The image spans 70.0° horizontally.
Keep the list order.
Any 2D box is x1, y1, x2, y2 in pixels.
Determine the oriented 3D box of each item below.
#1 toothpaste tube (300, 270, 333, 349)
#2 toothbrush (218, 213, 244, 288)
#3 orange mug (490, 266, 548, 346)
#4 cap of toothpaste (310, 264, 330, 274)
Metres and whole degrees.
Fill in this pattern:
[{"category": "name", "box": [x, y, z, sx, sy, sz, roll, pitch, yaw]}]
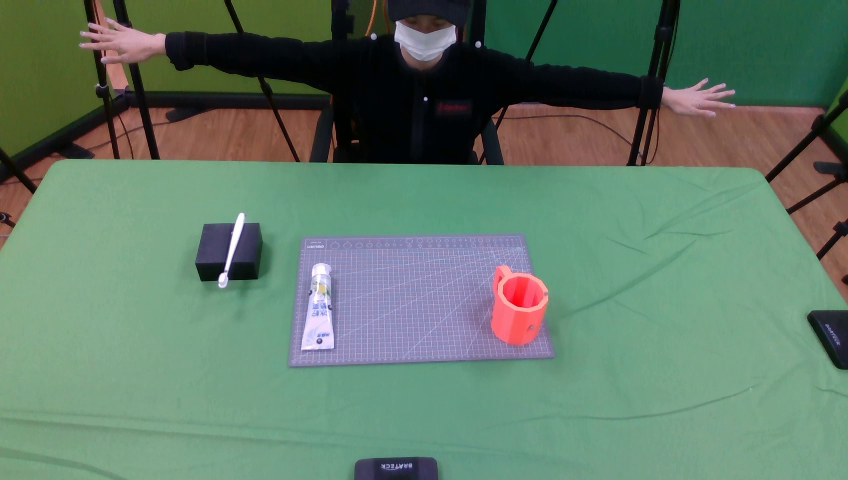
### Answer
[{"category": "toothpaste tube", "box": [-0.187, 0.118, 1.062, 0.055, 0.035, 0.164, -6, 50, -1]}, {"category": "toothbrush", "box": [-0.347, 0.013, 1.093, 0.014, 0.017, 0.180, -2, 46, 1]}, {"category": "orange mug", "box": [0.155, 0.107, 1.051, 0.083, 0.101, 0.125, -15, 53, -18]}, {"category": "cap of toothpaste", "box": [-0.191, 0.057, 1.111, 0.037, 0.037, 0.011, -2, 50, -6]}]
